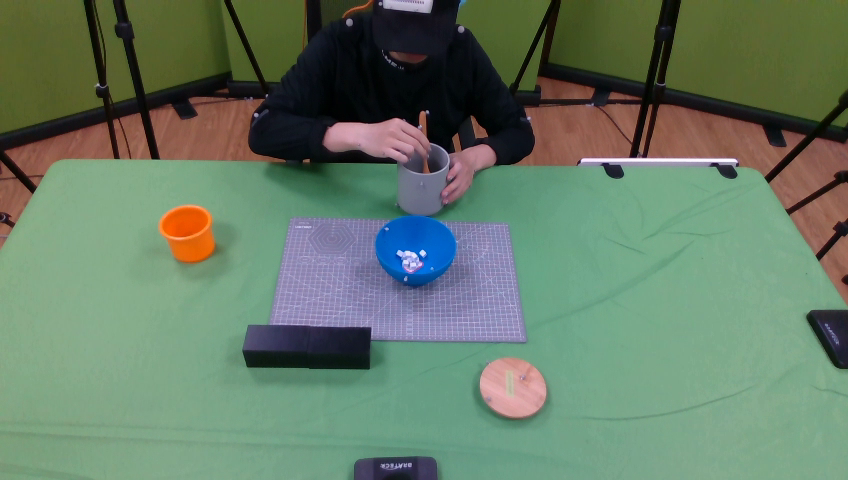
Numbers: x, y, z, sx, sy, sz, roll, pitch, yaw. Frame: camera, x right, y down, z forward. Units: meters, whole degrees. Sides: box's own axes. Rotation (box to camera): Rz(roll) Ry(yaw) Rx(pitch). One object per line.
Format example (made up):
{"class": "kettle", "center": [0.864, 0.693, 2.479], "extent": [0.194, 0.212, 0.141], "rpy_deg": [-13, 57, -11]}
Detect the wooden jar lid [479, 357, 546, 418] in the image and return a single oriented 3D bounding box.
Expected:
{"class": "wooden jar lid", "center": [0.142, 0.240, 0.979], "extent": [0.108, 0.021, 0.107], "rpy_deg": [1, 46, -1]}

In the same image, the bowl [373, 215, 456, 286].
{"class": "bowl", "center": [-0.019, 0.032, 1.122], "extent": [0.151, 0.077, 0.150], "rpy_deg": [2, 46, -2]}

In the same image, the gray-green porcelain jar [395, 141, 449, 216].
{"class": "gray-green porcelain jar", "center": [-0.007, -0.120, 1.241], "extent": [0.106, 0.127, 0.105], "rpy_deg": [2, 46, -2]}

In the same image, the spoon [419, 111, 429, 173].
{"class": "spoon", "center": [0.001, -0.159, 1.187], "extent": [0.041, 0.194, 0.021], "rpy_deg": [-7, 29, -3]}
